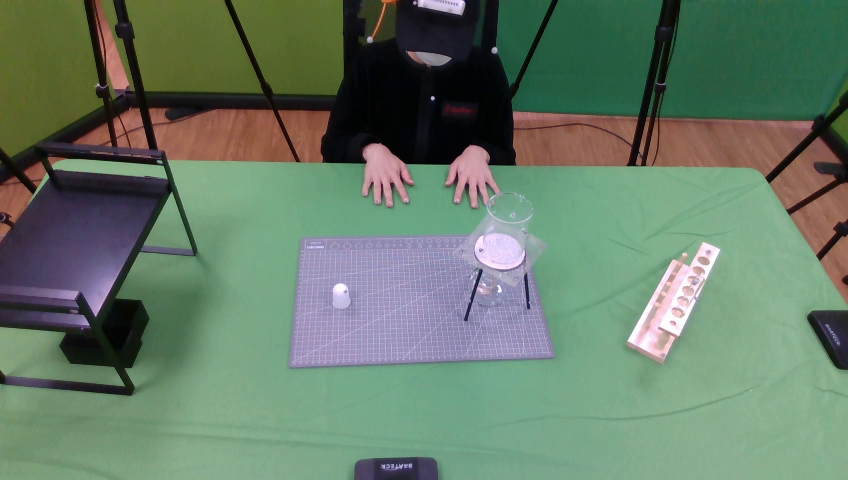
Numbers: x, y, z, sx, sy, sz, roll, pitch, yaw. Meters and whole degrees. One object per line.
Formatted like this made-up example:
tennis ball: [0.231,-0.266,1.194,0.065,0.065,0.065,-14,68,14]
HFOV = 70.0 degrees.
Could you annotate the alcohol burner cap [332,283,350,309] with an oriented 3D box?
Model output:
alcohol burner cap: [-0.148,0.096,1.075,0.034,0.048,0.033,2,47,-2]

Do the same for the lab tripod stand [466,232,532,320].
lab tripod stand: [0.125,0.059,1.065,0.148,0.132,0.147,1,45,0]

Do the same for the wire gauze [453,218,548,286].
wire gauze: [0.129,0.014,1.019,0.124,0.011,0.121,25,47,25]

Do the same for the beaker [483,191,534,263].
beaker: [0.135,-0.020,0.983,0.073,0.101,0.084,28,50,23]

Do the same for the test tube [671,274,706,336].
test tube: [0.429,0.112,1.004,0.017,0.151,0.017,4,43,-4]

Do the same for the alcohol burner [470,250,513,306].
alcohol burner: [0.121,0.062,1.076,0.078,0.120,0.077,1,47,0]

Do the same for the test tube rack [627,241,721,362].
test tube rack: [0.452,0.098,1.087,0.066,0.085,0.242,28,51,22]
